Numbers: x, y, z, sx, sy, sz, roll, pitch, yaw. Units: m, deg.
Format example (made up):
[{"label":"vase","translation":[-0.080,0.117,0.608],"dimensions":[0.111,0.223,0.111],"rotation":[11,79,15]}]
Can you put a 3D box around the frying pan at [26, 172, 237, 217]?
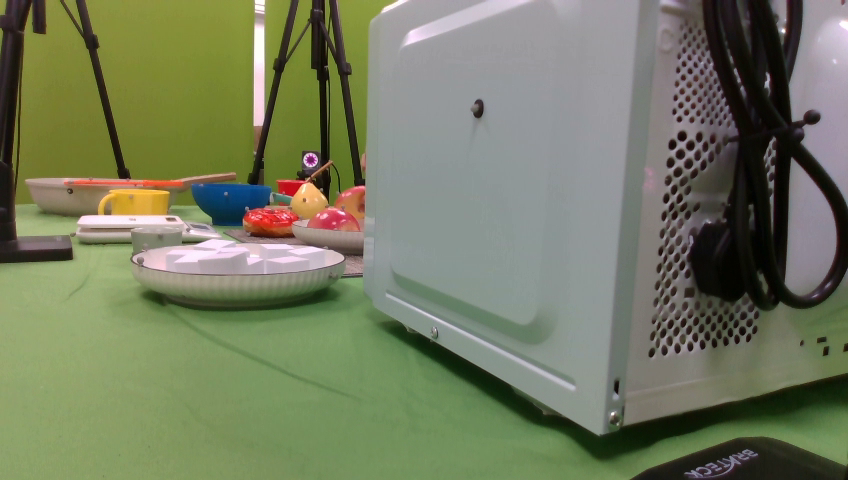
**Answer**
[{"label":"frying pan","translation":[-0.624,-0.118,1.387],"dimensions":[0.305,0.102,0.490],"rotation":[8,17,32]}]

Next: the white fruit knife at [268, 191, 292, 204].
[{"label":"white fruit knife","translation":[-0.364,-0.105,1.464],"dimensions":[0.208,0.027,0.016],"rotation":[15,-1,-34]}]

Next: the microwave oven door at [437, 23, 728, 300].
[{"label":"microwave oven door","translation":[0.180,-0.072,0.621],"dimensions":[0.358,0.243,0.039],"rotation":[-2,8,-29]}]

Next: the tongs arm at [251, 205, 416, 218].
[{"label":"tongs arm","translation":[-0.210,-0.067,1.440],"dimensions":[0.389,0.027,0.028],"rotation":[0,-1,-17]}]

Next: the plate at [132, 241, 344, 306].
[{"label":"plate","translation":[-0.187,0.033,0.625],"dimensions":[0.208,0.039,0.207],"rotation":[2,8,0]}]

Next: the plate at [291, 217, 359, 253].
[{"label":"plate","translation":[-0.102,-0.010,0.945],"dimensions":[0.209,0.038,0.209],"rotation":[2,8,0]}]

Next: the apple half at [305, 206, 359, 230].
[{"label":"apple half","translation":[-0.137,-0.024,0.914],"dimensions":[0.081,0.053,0.074],"rotation":[1,9,-37]}]

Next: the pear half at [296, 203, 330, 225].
[{"label":"pear half","translation":[-0.229,-0.051,1.258],"dimensions":[0.070,0.031,0.088],"rotation":[-2,20,-2]}]

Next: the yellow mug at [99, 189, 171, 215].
[{"label":"yellow mug","translation":[-0.519,-0.055,1.080],"dimensions":[0.099,0.064,0.131],"rotation":[7,9,26]}]

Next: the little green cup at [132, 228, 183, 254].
[{"label":"little green cup","translation":[-0.342,0.006,0.779],"dimensions":[0.061,0.038,0.061],"rotation":[2,8,0]}]

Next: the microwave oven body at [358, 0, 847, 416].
[{"label":"microwave oven body","translation":[0.211,-0.047,0.475],"dimensions":[0.444,0.260,0.324],"rotation":[-1,7,-28]}]

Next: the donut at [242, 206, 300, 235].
[{"label":"donut","translation":[-0.263,-0.032,1.039],"dimensions":[0.099,0.048,0.099],"rotation":[5,10,0]}]

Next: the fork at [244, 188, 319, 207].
[{"label":"fork","translation":[-0.356,-0.105,1.526],"dimensions":[0.208,0.018,0.028],"rotation":[16,-6,-41]}]

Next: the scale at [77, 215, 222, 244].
[{"label":"scale","translation":[-0.434,-0.019,0.963],"dimensions":[0.202,0.031,0.148],"rotation":[-1,9,-27]}]

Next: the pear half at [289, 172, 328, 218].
[{"label":"pear half","translation":[-0.228,-0.078,1.183],"dimensions":[0.076,0.110,0.056],"rotation":[-1,9,1]}]

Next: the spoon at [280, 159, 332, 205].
[{"label":"spoon","translation":[-0.316,-0.159,1.640],"dimensions":[0.194,0.022,0.041],"rotation":[-50,32,-20]}]

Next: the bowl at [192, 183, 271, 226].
[{"label":"bowl","translation":[-0.382,-0.070,1.202],"dimensions":[0.151,0.077,0.151],"rotation":[3,7,0]}]

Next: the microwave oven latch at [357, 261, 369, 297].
[{"label":"microwave oven latch","translation":[-0.019,0.033,0.530],"dimensions":[0.079,0.029,0.030],"rotation":[-1,7,-26]}]

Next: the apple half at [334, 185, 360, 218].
[{"label":"apple half","translation":[-0.112,-0.070,0.991],"dimensions":[0.081,0.032,0.081],"rotation":[-21,-28,-11]}]

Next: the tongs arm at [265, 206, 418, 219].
[{"label":"tongs arm","translation":[-0.173,-0.061,1.362],"dimensions":[0.387,0.026,0.050],"rotation":[-1,3,-31]}]

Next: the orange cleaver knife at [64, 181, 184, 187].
[{"label":"orange cleaver knife","translation":[-0.596,-0.113,1.212],"dimensions":[0.212,0.012,0.077],"rotation":[-3,7,-41]}]
